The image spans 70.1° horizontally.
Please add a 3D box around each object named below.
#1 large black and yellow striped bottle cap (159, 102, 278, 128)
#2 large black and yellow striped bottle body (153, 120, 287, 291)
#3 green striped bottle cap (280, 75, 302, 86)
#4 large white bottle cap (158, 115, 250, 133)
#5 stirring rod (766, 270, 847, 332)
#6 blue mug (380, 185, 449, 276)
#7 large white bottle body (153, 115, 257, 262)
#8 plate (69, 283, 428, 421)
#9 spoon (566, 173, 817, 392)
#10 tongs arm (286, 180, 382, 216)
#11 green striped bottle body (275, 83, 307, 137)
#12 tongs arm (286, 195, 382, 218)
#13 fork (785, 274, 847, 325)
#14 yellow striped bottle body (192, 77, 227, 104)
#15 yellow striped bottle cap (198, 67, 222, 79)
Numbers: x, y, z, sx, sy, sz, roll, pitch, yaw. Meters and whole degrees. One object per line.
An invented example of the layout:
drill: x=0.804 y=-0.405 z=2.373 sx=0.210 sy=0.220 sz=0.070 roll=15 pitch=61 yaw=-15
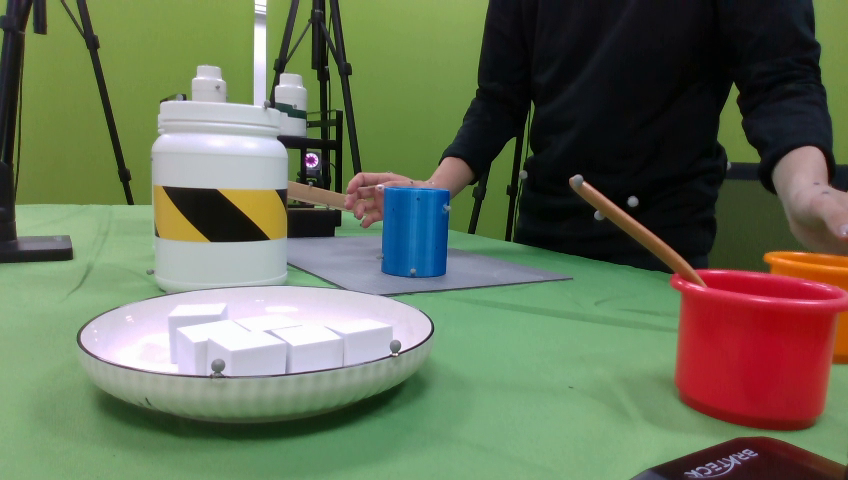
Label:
large black and yellow striped bottle cap: x=-0.207 y=-0.125 z=0.615 sx=0.115 sy=0.019 sz=0.115 roll=2 pitch=6 yaw=0
large black and yellow striped bottle body: x=-0.208 y=-0.042 z=0.626 sx=0.131 sy=0.184 sz=0.130 roll=2 pitch=7 yaw=0
green striped bottle cap: x=-0.267 y=-0.320 z=1.216 sx=0.044 sy=0.020 sz=0.044 roll=4 pitch=8 yaw=0
large white bottle cap: x=-0.291 y=-0.153 z=0.803 sx=0.115 sy=0.018 sz=0.115 roll=1 pitch=7 yaw=0
stirring rod: x=0.352 y=0.020 z=0.484 sx=0.176 sy=0.006 sz=0.014 roll=-40 pitch=-7 yaw=13
blue mug: x=-0.018 y=-0.016 z=0.764 sx=0.083 sy=0.106 sz=0.116 roll=-2 pitch=8 yaw=-25
large white bottle body: x=-0.293 y=-0.070 z=0.813 sx=0.131 sy=0.184 sz=0.130 roll=2 pitch=7 yaw=0
plate: x=-0.102 y=0.066 z=0.381 sx=0.208 sy=0.039 sz=0.207 roll=2 pitch=7 yaw=0
spoon: x=0.161 y=0.024 z=0.370 sx=0.193 sy=0.021 sz=0.042 roll=47 pitch=17 yaw=3
tongs arm: x=-0.122 y=-0.066 z=1.147 sx=0.387 sy=0.026 sz=0.050 roll=11 pitch=-2 yaw=-37
green striped bottle body: x=-0.269 y=-0.269 z=1.221 sx=0.063 sy=0.119 sz=0.063 roll=2 pitch=7 yaw=0
tongs arm: x=-0.165 y=-0.074 z=1.216 sx=0.389 sy=0.027 sz=0.028 roll=11 pitch=-6 yaw=-24
fork: x=0.332 y=0.018 z=0.443 sx=0.028 sy=0.018 sz=0.207 roll=-2 pitch=-36 yaw=-15
yellow striped bottle body: x=-0.414 y=-0.268 z=1.169 sx=0.063 sy=0.120 sz=0.063 roll=2 pitch=7 yaw=0
yellow striped bottle cap: x=-0.412 y=-0.320 z=1.162 sx=0.044 sy=0.018 sz=0.044 roll=0 pitch=5 yaw=0
